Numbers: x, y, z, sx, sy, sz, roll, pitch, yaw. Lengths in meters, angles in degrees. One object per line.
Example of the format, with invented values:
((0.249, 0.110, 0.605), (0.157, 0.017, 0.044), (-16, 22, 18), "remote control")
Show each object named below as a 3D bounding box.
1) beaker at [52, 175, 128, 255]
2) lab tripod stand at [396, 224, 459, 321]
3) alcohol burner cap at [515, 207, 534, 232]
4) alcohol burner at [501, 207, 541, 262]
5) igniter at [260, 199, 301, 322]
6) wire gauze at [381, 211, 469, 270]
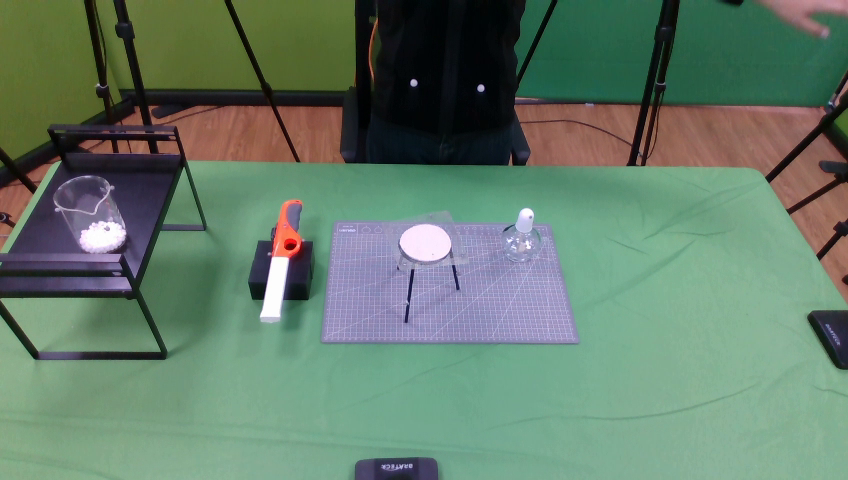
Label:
((-0.482, -0.032, 0.888), (0.074, 0.101, 0.083), (-28, 55, -27), "beaker")
((-0.003, 0.052, 1.067), (0.148, 0.132, 0.147), (3, 48, -3), "lab tripod stand")
((0.190, -0.041, 1.135), (0.034, 0.048, 0.033), (3, 50, -3), "alcohol burner cap")
((0.188, -0.015, 1.160), (0.078, 0.120, 0.077), (1, 44, -1), "alcohol burner")
((-0.255, 0.027, 1.084), (0.057, 0.025, 0.274), (3, 49, -5), "igniter")
((0.000, 0.001, 1.023), (0.125, 0.011, 0.120), (-9, 48, -13), "wire gauze")
